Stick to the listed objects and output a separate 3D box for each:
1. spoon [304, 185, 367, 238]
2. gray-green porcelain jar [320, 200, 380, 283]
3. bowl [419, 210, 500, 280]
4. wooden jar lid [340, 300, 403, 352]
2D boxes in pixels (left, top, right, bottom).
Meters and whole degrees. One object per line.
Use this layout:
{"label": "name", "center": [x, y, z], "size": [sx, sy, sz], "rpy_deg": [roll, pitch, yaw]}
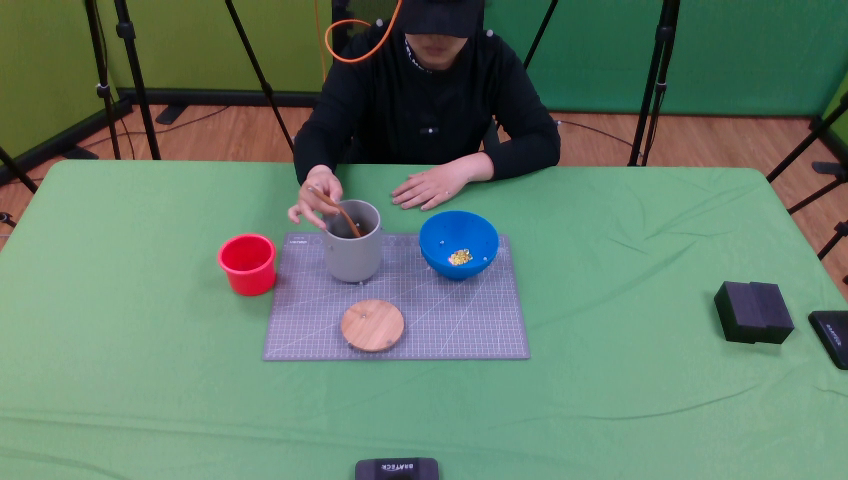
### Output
{"label": "spoon", "center": [-0.144, -0.043, 1.063], "size": [0.021, 0.195, 0.041], "rpy_deg": [-34, 46, 7]}
{"label": "gray-green porcelain jar", "center": [-0.132, 0.007, 1.106], "size": [0.106, 0.127, 0.105], "rpy_deg": [2, 46, -2]}
{"label": "bowl", "center": [0.062, 0.022, 1.140], "size": [0.151, 0.077, 0.150], "rpy_deg": [2, 46, -2]}
{"label": "wooden jar lid", "center": [-0.090, 0.150, 1.046], "size": [0.108, 0.021, 0.107], "rpy_deg": [3, 47, -3]}
